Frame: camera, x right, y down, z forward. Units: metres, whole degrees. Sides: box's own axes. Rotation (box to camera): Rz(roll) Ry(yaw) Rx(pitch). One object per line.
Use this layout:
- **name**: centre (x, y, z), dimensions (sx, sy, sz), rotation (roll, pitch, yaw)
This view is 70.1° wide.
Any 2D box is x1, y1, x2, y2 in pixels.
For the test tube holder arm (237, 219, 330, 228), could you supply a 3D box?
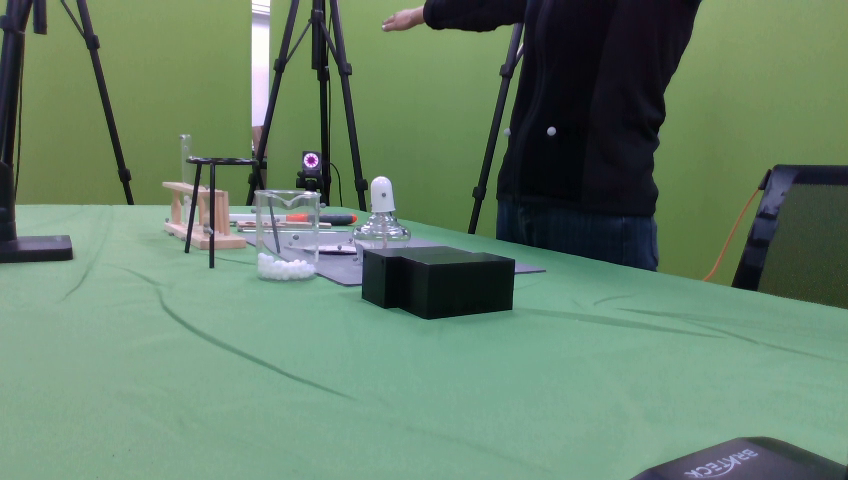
- **test tube holder arm**: centre (-0.261, -0.030, 1.142), dimensions (0.179, 0.015, 0.013), rotation (-4, 47, -34)

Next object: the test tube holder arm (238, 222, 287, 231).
- **test tube holder arm**: centre (-0.297, -0.024, 1.114), dimensions (0.088, 0.015, 0.010), rotation (-3, 46, -33)

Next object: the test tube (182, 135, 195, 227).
- **test tube**: centre (-0.382, -0.095, 0.983), dimensions (0.017, 0.150, 0.017), rotation (-1, 2, 0)

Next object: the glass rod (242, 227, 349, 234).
- **glass rod**: centre (-0.232, -0.017, 1.110), dimensions (0.201, 0.008, 0.008), rotation (2, 6, -30)

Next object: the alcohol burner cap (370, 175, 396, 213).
- **alcohol burner cap**: centre (-0.055, -0.059, 0.778), dimensions (0.034, 0.048, 0.034), rotation (-7, 10, 1)

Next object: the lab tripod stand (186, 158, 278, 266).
- **lab tripod stand**: centre (-0.261, -0.042, 0.796), dimensions (0.148, 0.131, 0.148), rotation (3, 9, 0)

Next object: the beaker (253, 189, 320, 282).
- **beaker**: centre (-0.156, -0.005, 0.689), dimensions (0.074, 0.100, 0.083), rotation (0, 8, -13)

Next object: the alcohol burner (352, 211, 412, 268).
- **alcohol burner**: centre (-0.055, -0.024, 0.784), dimensions (0.078, 0.119, 0.078), rotation (2, 9, 0)

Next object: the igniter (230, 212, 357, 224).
- **igniter**: centre (-0.271, -0.044, 1.232), dimensions (0.278, 0.025, 0.057), rotation (-1, -2, -27)

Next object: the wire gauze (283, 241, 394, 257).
- **wire gauze**: centre (-0.127, 0.012, 0.894), dimensions (0.126, 0.011, 0.121), rotation (1, 6, -35)

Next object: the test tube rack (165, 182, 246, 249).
- **test tube rack**: centre (-0.360, -0.045, 0.982), dimensions (0.067, 0.085, 0.241), rotation (-3, 9, -34)
